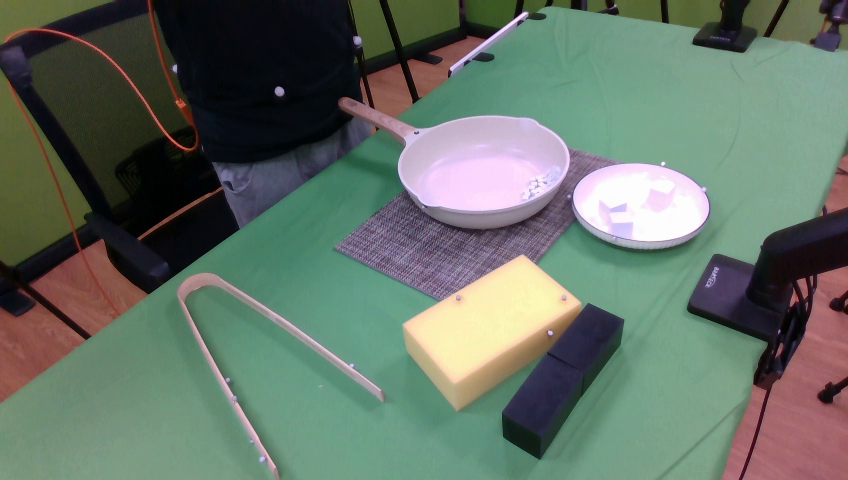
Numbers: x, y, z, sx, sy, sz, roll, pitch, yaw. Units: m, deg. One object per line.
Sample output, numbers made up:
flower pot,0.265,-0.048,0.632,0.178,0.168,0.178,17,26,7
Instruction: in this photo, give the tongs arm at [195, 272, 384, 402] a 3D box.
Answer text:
tongs arm,-0.198,0.125,0.847,0.384,0.028,0.028,25,52,32

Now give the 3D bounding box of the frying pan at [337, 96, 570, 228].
frying pan,0.023,-0.167,1.090,0.484,0.103,0.308,32,52,26

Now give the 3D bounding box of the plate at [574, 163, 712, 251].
plate,0.344,-0.050,0.966,0.207,0.039,0.206,-4,40,4

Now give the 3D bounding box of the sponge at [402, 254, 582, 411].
sponge,0.089,0.114,0.791,0.208,0.061,0.117,-28,47,-23

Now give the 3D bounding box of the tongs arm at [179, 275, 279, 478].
tongs arm,-0.260,0.161,0.807,0.051,0.026,0.381,-29,44,-25
